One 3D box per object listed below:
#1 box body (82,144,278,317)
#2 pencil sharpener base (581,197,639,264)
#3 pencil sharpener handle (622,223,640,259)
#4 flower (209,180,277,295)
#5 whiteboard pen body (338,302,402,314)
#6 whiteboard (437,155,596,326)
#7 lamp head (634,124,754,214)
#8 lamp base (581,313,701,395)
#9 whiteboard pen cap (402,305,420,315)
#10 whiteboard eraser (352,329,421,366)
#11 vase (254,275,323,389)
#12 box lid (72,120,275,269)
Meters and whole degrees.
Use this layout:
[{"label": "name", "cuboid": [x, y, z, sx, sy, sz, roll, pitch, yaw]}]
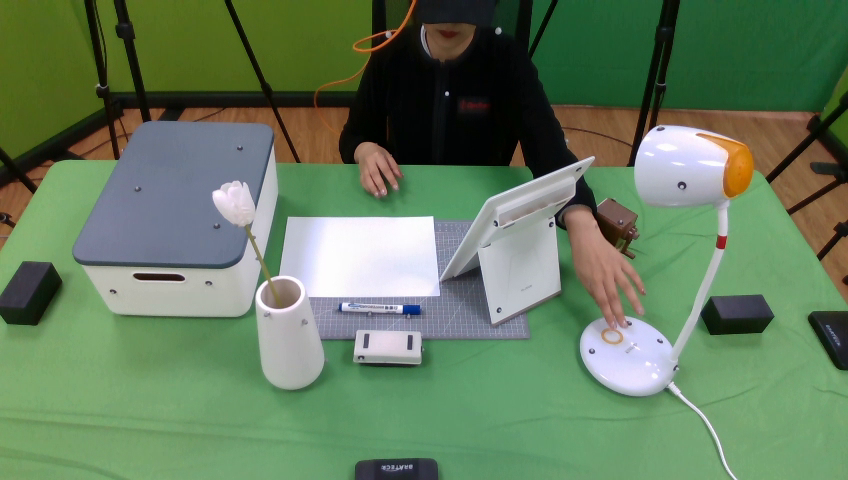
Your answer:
[{"label": "box body", "cuboid": [-0.421, -0.041, 1.108, 0.254, 0.161, 0.361, 2, 46, -3]}, {"label": "pencil sharpener base", "cuboid": [0.362, -0.017, 1.179, 0.076, 0.107, 0.061, 37, 54, 27]}, {"label": "pencil sharpener handle", "cuboid": [0.397, 0.003, 1.145, 0.030, 0.068, 0.036, 37, 46, 27]}, {"label": "flower", "cuboid": [-0.217, 0.075, 0.871, 0.044, 0.363, 0.038, -28, 36, -19]}, {"label": "whiteboard pen body", "cuboid": [-0.083, 0.121, 1.074, 0.141, 0.017, 0.017, 3, 46, -2]}, {"label": "whiteboard", "cuboid": [0.180, 0.024, 1.029, 0.217, 0.306, 0.143, -22, 70, -23]}, {"label": "lamp head", "cuboid": [0.351, -0.089, 0.776, 0.112, 0.113, 0.122, -30, 30, -28]}, {"label": "lamp base", "cuboid": [0.361, 0.144, 0.973, 0.178, 0.181, 0.160, 34, 53, 23]}, {"label": "whiteboard pen cap", "cuboid": [-0.024, 0.123, 1.076, 0.033, 0.018, 0.018, 1, 46, 1]}, {"label": "whiteboard eraser", "cuboid": [-0.061, 0.180, 1.005, 0.113, 0.042, 0.055, 3, 48, -3]}, {"label": "vase", "cuboid": [-0.209, 0.143, 0.921, 0.098, 0.201, 0.097, 1, 46, -1]}, {"label": "box lid", "cuboid": [-0.417, -0.094, 1.056, 0.263, 0.015, 0.369, 1, 47, -3]}]
